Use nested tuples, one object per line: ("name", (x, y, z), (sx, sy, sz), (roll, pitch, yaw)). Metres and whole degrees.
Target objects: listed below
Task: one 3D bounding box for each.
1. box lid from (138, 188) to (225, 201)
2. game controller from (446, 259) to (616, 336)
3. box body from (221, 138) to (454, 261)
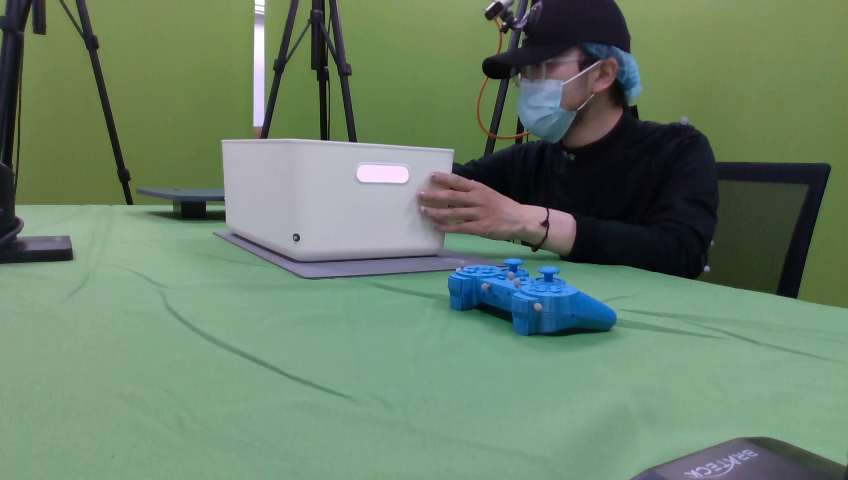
("box lid", (-0.433, -0.105, 1.395), (0.373, 0.015, 0.262), (-5, 10, -44))
("game controller", (0.091, 0.048, 0.562), (0.097, 0.051, 0.154), (-6, 10, -32))
("box body", (-0.152, -0.074, 0.963), (0.255, 0.160, 0.362), (-3, 9, -33))
